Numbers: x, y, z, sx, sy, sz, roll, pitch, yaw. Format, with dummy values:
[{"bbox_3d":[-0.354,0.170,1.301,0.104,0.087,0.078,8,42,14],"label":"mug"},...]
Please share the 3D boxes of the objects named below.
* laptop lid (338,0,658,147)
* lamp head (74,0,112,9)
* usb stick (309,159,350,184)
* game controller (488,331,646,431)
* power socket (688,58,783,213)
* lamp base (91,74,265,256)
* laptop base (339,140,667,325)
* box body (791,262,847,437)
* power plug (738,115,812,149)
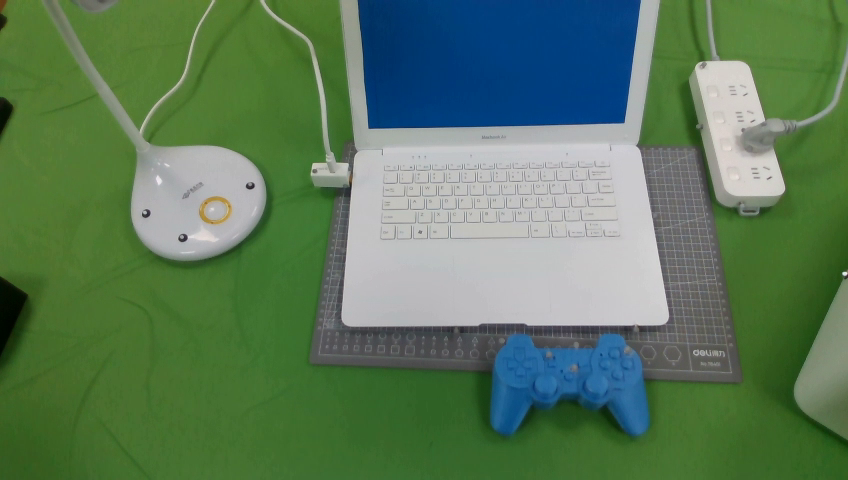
[{"bbox_3d":[0.082,-0.216,0.697,0.356,0.243,0.013,-2,31,3],"label":"laptop lid"},{"bbox_3d":[-0.253,-0.234,0.403,0.123,0.112,0.112,29,65,-9],"label":"lamp head"},{"bbox_3d":[-0.108,-0.083,0.737,0.059,0.027,0.021,4,56,1],"label":"usb stick"},{"bbox_3d":[0.142,0.138,0.606,0.155,0.052,0.096,0,60,2],"label":"game controller"},{"bbox_3d":[0.380,-0.138,0.748,0.072,0.033,0.225,1,62,2],"label":"power socket"},{"bbox_3d":[-0.289,-0.094,0.674,0.178,0.182,0.160,26,66,19],"label":"lamp base"},{"bbox_3d":[0.085,-0.013,0.704,0.354,0.023,0.233,-1,66,2],"label":"laptop base"},{"bbox_3d":[0.548,0.061,0.562,0.252,0.161,0.363,32,68,18],"label":"box body"},{"bbox_3d":[0.408,-0.120,0.711,0.072,0.053,0.035,11,62,7],"label":"power plug"}]
